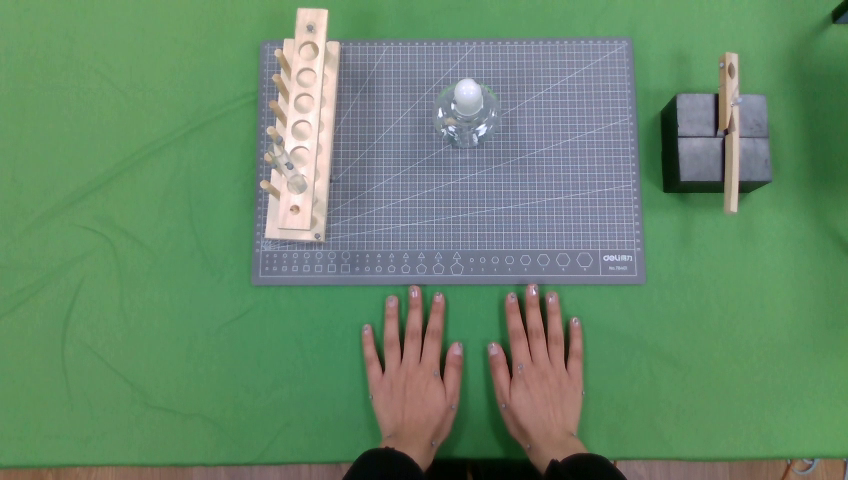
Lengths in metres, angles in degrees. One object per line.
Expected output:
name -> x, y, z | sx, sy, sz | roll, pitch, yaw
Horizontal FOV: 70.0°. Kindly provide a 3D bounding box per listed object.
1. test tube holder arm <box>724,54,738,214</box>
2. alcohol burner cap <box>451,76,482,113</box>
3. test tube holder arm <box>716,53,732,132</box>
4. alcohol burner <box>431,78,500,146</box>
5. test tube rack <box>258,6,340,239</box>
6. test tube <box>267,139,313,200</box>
test tube holder arm -> 0.333, -0.116, 0.659 | 0.013, 0.015, 0.178 | 3, 82, -5
alcohol burner cap -> 0.044, -0.153, 0.628 | 0.034, 0.048, 0.034 | 0, 86, 3
test tube holder arm -> 0.329, -0.161, 0.665 | 0.010, 0.015, 0.087 | 3, 82, -5
alcohol burner -> 0.046, -0.147, 0.664 | 0.078, 0.119, 0.077 | 0, 83, 2
test tube rack -> -0.143, -0.128, 0.676 | 0.067, 0.085, 0.241 | 4, 82, 1
test tube -> -0.134, -0.066, 0.617 | 0.017, 0.151, 0.017 | 0, 76, 1
